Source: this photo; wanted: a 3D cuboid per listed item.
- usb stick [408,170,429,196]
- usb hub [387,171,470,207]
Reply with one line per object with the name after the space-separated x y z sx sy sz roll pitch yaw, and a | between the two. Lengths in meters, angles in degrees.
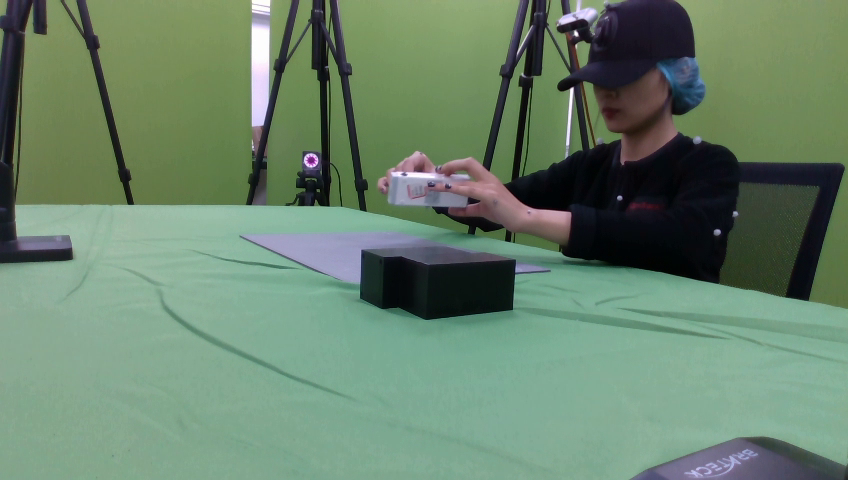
-0.008 -0.089 0.964 0.021 0.027 0.059 4 27 -17 | usb stick
0.007 -0.079 0.939 0.125 0.049 0.025 0 26 -15 | usb hub
